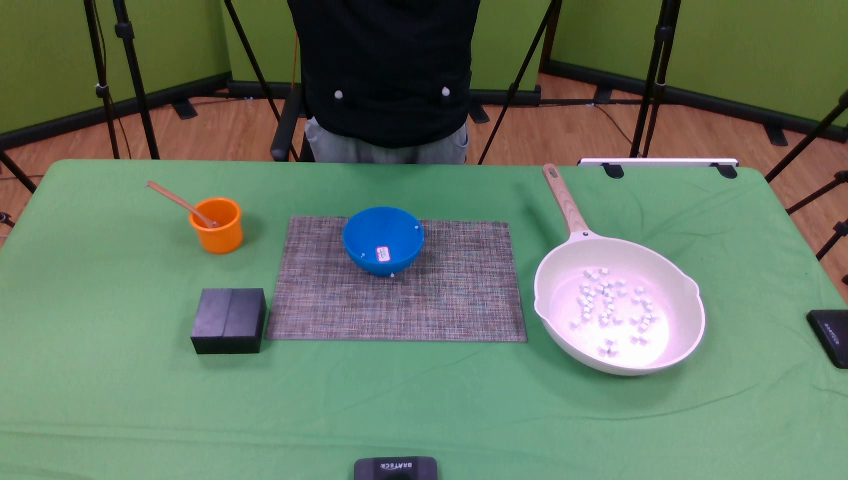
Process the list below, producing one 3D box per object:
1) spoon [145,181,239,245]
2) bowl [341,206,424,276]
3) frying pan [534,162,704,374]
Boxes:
[{"bbox_3d":[-0.429,-0.052,1.126,0.021,0.195,0.041,-27,34,33],"label":"spoon"},{"bbox_3d":[-0.079,0.014,1.133,0.151,0.077,0.150,2,46,-2],"label":"bowl"},{"bbox_3d":[0.314,0.034,1.133,0.307,0.103,0.484,-7,56,-12],"label":"frying pan"}]
